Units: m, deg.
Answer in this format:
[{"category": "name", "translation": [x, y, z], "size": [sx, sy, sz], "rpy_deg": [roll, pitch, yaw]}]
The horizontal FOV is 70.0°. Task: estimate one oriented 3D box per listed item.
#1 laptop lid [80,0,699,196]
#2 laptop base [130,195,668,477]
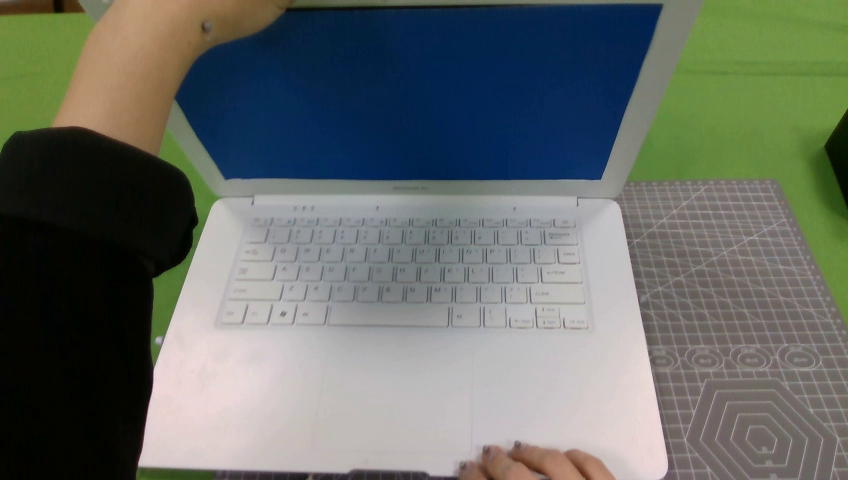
[{"category": "laptop lid", "translation": [-0.017, -0.093, 0.427], "size": [0.356, 0.244, 0.013], "rpy_deg": [-1, 62, 5]}, {"category": "laptop base", "translation": [-0.016, 0.058, 0.462], "size": [0.354, 0.023, 0.233], "rpy_deg": [0, 55, 4]}]
